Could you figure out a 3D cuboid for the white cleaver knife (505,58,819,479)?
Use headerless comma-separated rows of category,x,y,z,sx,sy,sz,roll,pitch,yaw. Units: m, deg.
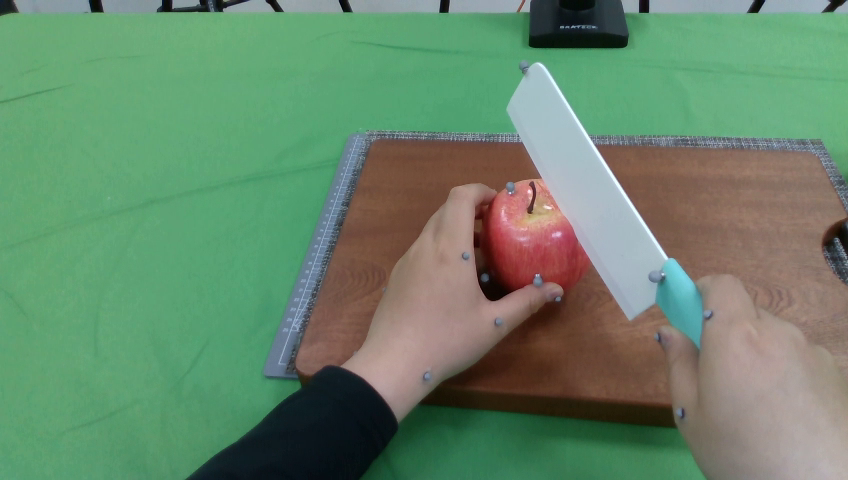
white cleaver knife,0.120,0.014,0.345,0.021,0.066,0.284,-18,67,-17

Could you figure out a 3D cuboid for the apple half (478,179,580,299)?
apple half,0.065,0.004,0.420,0.053,0.075,0.080,-21,53,-10

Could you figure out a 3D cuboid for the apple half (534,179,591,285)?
apple half,0.101,-0.008,0.428,0.033,0.082,0.080,-21,47,-10
